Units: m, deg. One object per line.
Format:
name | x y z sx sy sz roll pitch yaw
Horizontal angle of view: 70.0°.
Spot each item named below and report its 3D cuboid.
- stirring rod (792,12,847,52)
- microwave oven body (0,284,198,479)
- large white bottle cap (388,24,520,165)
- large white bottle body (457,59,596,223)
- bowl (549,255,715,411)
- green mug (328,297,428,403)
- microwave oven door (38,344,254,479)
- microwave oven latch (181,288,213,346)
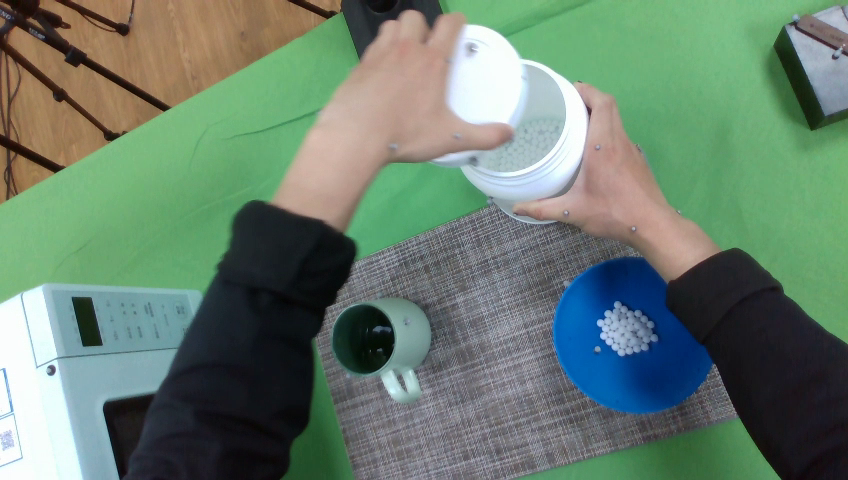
stirring rod | 0.421 -0.163 0.553 0.175 0.006 0.014 38 132 18
microwave oven body | -0.410 0.312 0.712 0.326 0.261 0.439 -23 79 15
large white bottle cap | 0.022 -0.118 0.495 0.114 0.018 0.114 -4 82 29
large white bottle body | 0.102 -0.095 0.615 0.130 0.186 0.130 -3 81 19
bowl | 0.209 0.092 0.617 0.151 0.077 0.151 -2 84 19
green mug | -0.043 0.125 0.686 0.092 0.105 0.124 -31 76 13
microwave oven door | -0.268 0.293 0.660 0.039 0.245 0.354 -24 78 15
microwave oven latch | -0.306 0.102 0.798 0.030 0.029 0.079 -23 79 15
